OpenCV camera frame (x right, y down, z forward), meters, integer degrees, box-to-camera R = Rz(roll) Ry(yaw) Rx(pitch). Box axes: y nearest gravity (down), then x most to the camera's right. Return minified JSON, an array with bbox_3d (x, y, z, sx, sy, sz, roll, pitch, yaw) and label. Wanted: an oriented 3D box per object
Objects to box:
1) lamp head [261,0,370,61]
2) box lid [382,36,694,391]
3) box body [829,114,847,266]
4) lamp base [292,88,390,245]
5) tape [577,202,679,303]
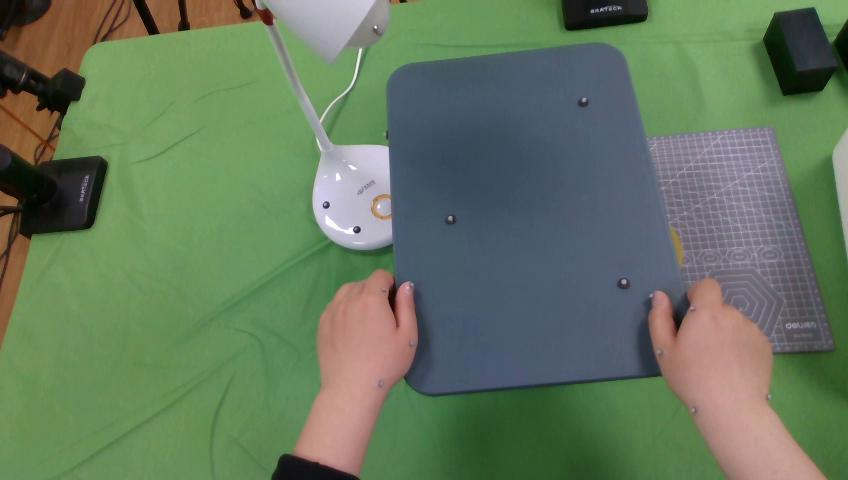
[{"bbox_3d":[-0.097,-0.223,0.488,0.123,0.112,0.112,31,71,-14],"label":"lamp head"},{"bbox_3d":[0.094,-0.047,0.599,0.263,0.015,0.368,-6,66,3],"label":"box lid"},{"bbox_3d":[0.590,-0.001,0.611,0.253,0.162,0.361,2,67,11],"label":"box body"},{"bbox_3d":[-0.101,-0.104,0.763,0.178,0.182,0.160,34,75,24],"label":"lamp base"},{"bbox_3d":[0.240,0.015,0.721,0.117,0.053,0.116,-3,66,7],"label":"tape"}]
